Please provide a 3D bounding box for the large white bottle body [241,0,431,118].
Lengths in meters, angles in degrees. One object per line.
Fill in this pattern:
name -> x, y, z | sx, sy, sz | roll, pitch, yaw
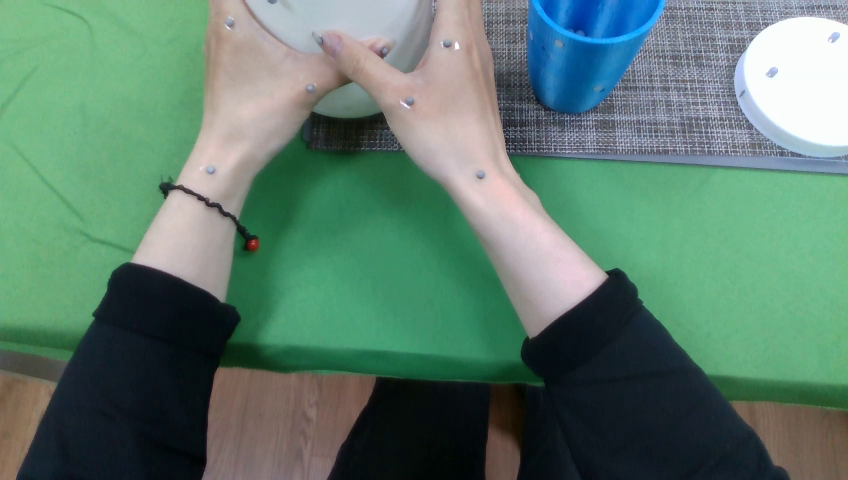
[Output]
large white bottle body -> -0.061, -0.182, 0.396 | 0.130, 0.186, 0.129 | 0, 69, 1

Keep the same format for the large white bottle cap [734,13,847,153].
large white bottle cap -> 0.294, -0.119, 0.454 | 0.115, 0.018, 0.114 | 0, 70, 1

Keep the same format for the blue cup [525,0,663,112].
blue cup -> 0.109, -0.141, 0.421 | 0.092, 0.101, 0.092 | -1, 70, 3
